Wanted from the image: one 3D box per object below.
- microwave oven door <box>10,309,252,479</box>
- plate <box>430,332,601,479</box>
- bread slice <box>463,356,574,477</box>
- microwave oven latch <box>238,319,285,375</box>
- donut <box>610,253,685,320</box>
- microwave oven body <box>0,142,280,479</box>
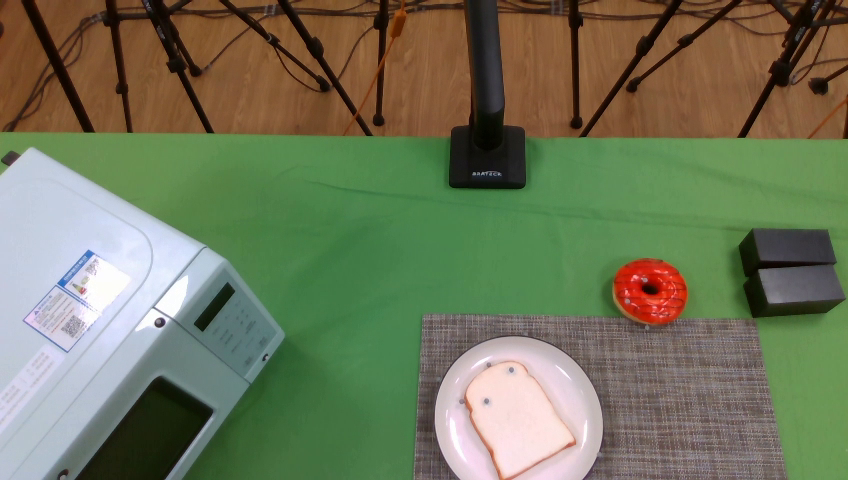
[{"bbox_3d":[-0.339,0.259,0.634,0.039,0.246,0.354,26,67,17],"label":"microwave oven door"},{"bbox_3d":[0.112,0.219,0.757,0.207,0.039,0.206,-1,63,3],"label":"plate"},{"bbox_3d":[0.109,0.213,0.761,0.105,0.019,0.130,-26,64,-11],"label":"bread slice"},{"bbox_3d":[-0.218,0.138,0.804,0.030,0.030,0.079,29,69,17],"label":"microwave oven latch"},{"bbox_3d":[0.304,0.063,0.824,0.099,0.049,0.098,-3,59,6],"label":"donut"},{"bbox_3d":[-0.442,0.167,0.694,0.324,0.262,0.440,27,68,16],"label":"microwave oven body"}]
